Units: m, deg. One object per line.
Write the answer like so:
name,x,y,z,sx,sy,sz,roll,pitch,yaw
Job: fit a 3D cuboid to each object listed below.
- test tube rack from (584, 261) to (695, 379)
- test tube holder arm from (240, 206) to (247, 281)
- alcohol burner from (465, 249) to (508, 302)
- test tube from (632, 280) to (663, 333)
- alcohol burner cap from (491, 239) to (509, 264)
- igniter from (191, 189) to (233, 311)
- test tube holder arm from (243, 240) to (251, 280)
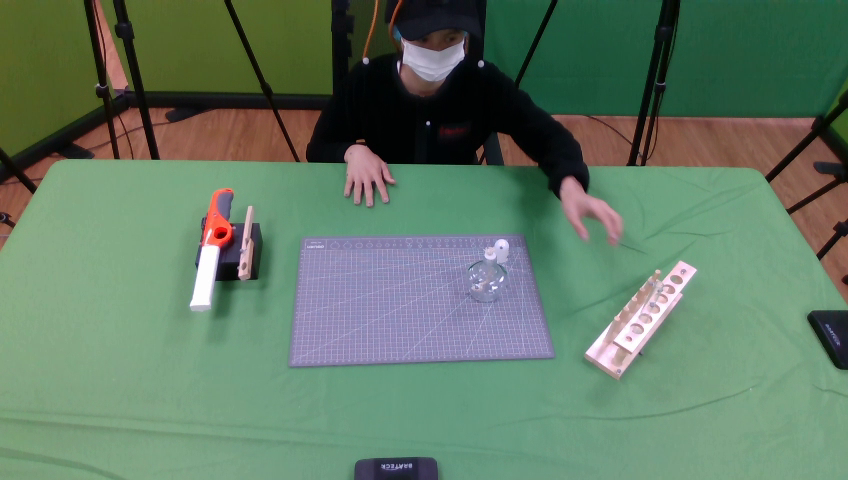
test tube rack,0.380,0.127,1.062,0.066,0.085,0.242,34,53,26
test tube holder arm,-0.329,0.002,1.106,0.013,0.015,0.177,-5,48,-12
alcohol burner,0.114,0.057,1.085,0.078,0.120,0.077,2,48,-2
test tube,0.363,0.121,0.997,0.017,0.151,0.017,2,44,-1
alcohol burner cap,0.150,0.020,1.174,0.034,0.048,0.033,2,46,-2
igniter,-0.381,0.008,1.092,0.057,0.025,0.274,-1,49,-6
test tube holder arm,-0.315,0.035,1.077,0.010,0.015,0.087,-3,48,-10
